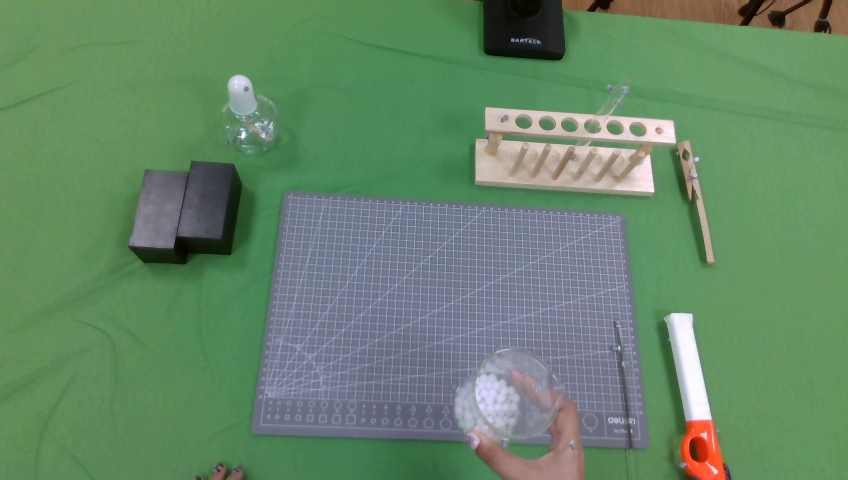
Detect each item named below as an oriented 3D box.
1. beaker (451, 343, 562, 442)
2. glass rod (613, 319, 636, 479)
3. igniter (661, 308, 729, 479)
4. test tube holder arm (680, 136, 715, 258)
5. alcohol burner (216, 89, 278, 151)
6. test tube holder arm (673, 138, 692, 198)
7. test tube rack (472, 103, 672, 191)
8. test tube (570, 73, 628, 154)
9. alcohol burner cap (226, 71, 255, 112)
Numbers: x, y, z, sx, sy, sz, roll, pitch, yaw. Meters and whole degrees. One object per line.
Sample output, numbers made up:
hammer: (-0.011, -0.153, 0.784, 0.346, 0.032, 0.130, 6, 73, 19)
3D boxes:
beaker: (0.068, 0.140, 0.540, 0.084, 0.101, 0.073, -5, 68, -12)
glass rod: (0.235, 0.189, 0.712, 0.008, 0.008, 0.198, 3, 68, -5)
igniter: (0.316, 0.213, 0.704, 0.057, 0.025, 0.274, 4, 67, -15)
test tube holder arm: (0.369, -0.060, 0.822, 0.013, 0.015, 0.177, -17, 67, 26)
alcohol burner: (-0.223, -0.164, 0.755, 0.078, 0.120, 0.077, 1, 66, -3)
test tube holder arm: (0.360, -0.100, 0.840, 0.010, 0.015, 0.087, -16, 67, 26)
test tube rack: (0.190, -0.119, 0.793, 0.243, 0.085, 0.066, 3, 68, -4)
test tube: (0.214, -0.154, 0.756, 0.017, 0.151, 0.017, 4, 64, -8)
alcohol burner cap: (-0.220, -0.180, 0.722, 0.034, 0.048, 0.033, 5, 62, -9)
